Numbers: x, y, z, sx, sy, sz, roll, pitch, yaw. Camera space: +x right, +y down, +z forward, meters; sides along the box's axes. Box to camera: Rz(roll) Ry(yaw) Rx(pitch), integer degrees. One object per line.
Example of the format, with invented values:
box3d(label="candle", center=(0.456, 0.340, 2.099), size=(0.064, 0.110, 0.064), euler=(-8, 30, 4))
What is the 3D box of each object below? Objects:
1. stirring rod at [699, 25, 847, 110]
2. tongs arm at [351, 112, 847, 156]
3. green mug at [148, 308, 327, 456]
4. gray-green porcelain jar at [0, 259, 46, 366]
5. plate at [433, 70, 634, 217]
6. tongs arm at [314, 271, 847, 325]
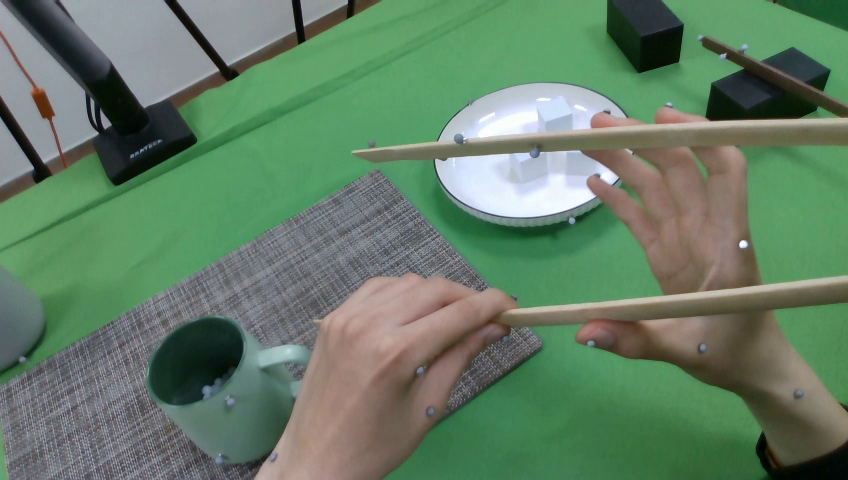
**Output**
box3d(label="stirring rod", center=(0.338, -0.171, 0.590), size=(0.006, 0.014, 0.174), euler=(-29, 50, -13))
box3d(label="tongs arm", center=(0.083, -0.043, 0.342), size=(0.382, 0.027, 0.050), euler=(3, 75, 44))
box3d(label="green mug", center=(-0.142, 0.111, 0.490), size=(0.125, 0.106, 0.091), euler=(-15, 50, 2))
box3d(label="gray-green porcelain jar", center=(-0.456, 0.062, 0.599), size=(0.106, 0.128, 0.105), euler=(-7, 51, 9))
box3d(label="plate", center=(0.114, -0.101, 0.643), size=(0.207, 0.039, 0.205), euler=(-7, 51, 9))
box3d(label="tongs arm", center=(0.069, 0.029, 0.327), size=(0.386, 0.028, 0.028), euler=(-11, 61, 41))
